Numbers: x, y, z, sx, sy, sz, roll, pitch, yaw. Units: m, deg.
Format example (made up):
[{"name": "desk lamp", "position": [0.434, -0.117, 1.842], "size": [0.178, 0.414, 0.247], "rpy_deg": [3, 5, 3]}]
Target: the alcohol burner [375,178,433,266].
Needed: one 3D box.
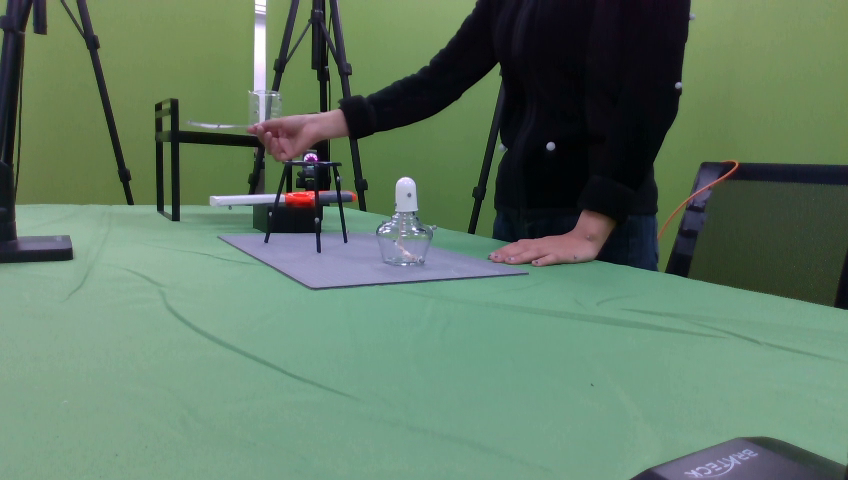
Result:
[{"name": "alcohol burner", "position": [-0.026, -0.025, 0.815], "size": [0.078, 0.119, 0.078], "rpy_deg": [4, 6, 0]}]

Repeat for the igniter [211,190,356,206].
[{"name": "igniter", "position": [-0.260, -0.080, 1.151], "size": [0.278, 0.025, 0.057], "rpy_deg": [-5, 13, -33]}]

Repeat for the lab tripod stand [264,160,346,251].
[{"name": "lab tripod stand", "position": [-0.177, -0.057, 0.929], "size": [0.148, 0.131, 0.148], "rpy_deg": [1, 9, 0]}]

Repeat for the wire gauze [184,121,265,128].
[{"name": "wire gauze", "position": [-0.401, -0.232, 1.223], "size": [0.124, 0.011, 0.122], "rpy_deg": [12, 14, 40]}]

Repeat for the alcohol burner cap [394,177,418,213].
[{"name": "alcohol burner cap", "position": [-0.025, -0.060, 0.809], "size": [0.034, 0.048, 0.034], "rpy_deg": [-4, 10, 1]}]

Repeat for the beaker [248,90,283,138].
[{"name": "beaker", "position": [-0.354, -0.278, 1.340], "size": [0.074, 0.100, 0.084], "rpy_deg": [6, 9, 26]}]
